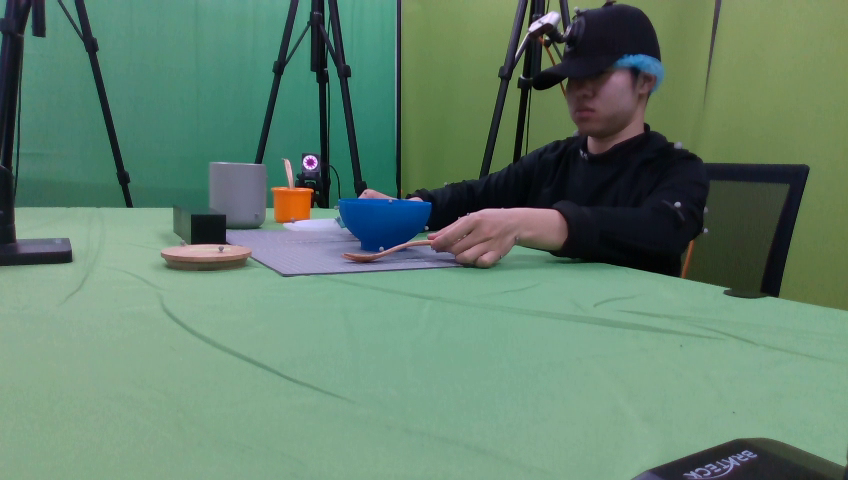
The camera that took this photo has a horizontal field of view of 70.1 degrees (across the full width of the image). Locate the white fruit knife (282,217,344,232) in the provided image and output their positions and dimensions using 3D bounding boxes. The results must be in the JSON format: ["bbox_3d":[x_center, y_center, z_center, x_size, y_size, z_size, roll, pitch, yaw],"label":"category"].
[{"bbox_3d":[-0.148,-0.029,1.049,0.208,0.027,0.016,-4,-7,-37],"label":"white fruit knife"}]

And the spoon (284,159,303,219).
[{"bbox_3d":[-0.302,-0.118,1.370,0.042,0.193,0.021,4,-39,-24],"label":"spoon"}]

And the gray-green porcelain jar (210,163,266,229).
[{"bbox_3d":[-0.367,-0.088,1.195,0.106,0.126,0.106,3,8,0],"label":"gray-green porcelain jar"}]

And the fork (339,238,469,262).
[{"bbox_3d":[-0.023,0.011,0.860,0.208,0.018,0.028,-10,-29,-31],"label":"fork"}]

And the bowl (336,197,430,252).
[{"bbox_3d":[-0.066,-0.024,0.967,0.151,0.077,0.151,3,8,0],"label":"bowl"}]

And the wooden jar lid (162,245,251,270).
[{"bbox_3d":[-0.278,0.022,0.777,0.108,0.020,0.108,2,6,0],"label":"wooden jar lid"}]
